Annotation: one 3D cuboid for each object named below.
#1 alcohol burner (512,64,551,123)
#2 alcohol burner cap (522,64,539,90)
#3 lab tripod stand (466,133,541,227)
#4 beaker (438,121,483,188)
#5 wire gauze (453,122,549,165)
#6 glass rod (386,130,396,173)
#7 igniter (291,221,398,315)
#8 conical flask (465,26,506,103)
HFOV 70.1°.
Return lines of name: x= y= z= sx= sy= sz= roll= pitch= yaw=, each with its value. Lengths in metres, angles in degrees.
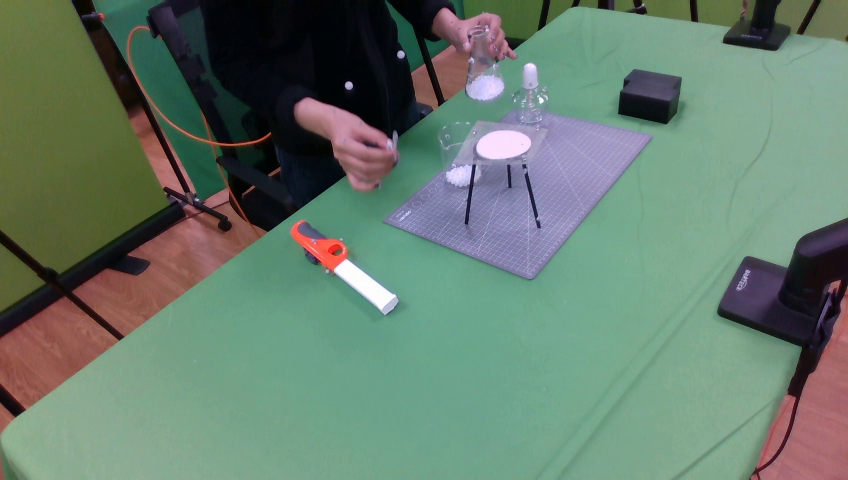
alcohol burner: x=0.215 y=-0.298 z=1.220 sx=0.078 sy=0.120 sz=0.077 roll=-7 pitch=40 yaw=7
alcohol burner cap: x=0.210 y=-0.325 z=1.195 sx=0.034 sy=0.048 sz=0.033 roll=-6 pitch=45 yaw=7
lab tripod stand: x=0.129 y=-0.099 z=0.985 sx=0.148 sy=0.132 sz=0.147 roll=-6 pitch=38 yaw=6
beaker: x=0.066 y=-0.149 z=1.083 sx=0.073 sy=0.101 sz=0.084 roll=20 pitch=49 yaw=31
wire gauze: x=0.121 y=-0.150 z=0.942 sx=0.121 sy=0.011 sz=0.125 roll=8 pitch=42 yaw=21
glass rod: x=-0.050 y=-0.130 z=0.906 sx=0.008 sy=0.199 sz=0.008 roll=1 pitch=81 yaw=-6
igniter: x=-0.136 y=0.037 z=0.962 sx=0.057 sy=0.025 sz=0.274 roll=-41 pitch=48 yaw=-18
conical flask: x=0.101 y=-0.310 z=1.062 sx=0.075 sy=0.122 sz=0.075 roll=-8 pitch=45 yaw=8
